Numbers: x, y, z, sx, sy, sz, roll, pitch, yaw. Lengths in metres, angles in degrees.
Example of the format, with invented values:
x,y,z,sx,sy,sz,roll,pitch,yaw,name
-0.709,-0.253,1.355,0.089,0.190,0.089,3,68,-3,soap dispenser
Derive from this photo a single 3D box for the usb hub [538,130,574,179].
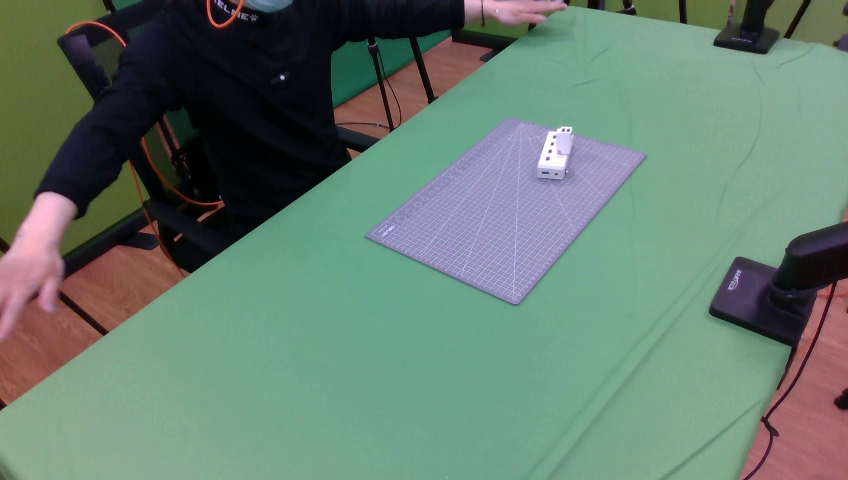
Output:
x,y,z,sx,sy,sz,roll,pitch,yaw,name
0.243,-0.158,1.111,0.049,0.025,0.125,8,43,17,usb hub

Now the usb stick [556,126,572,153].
x,y,z,sx,sy,sz,roll,pitch,yaw,name
0.251,-0.174,1.083,0.027,0.059,0.021,8,44,15,usb stick
